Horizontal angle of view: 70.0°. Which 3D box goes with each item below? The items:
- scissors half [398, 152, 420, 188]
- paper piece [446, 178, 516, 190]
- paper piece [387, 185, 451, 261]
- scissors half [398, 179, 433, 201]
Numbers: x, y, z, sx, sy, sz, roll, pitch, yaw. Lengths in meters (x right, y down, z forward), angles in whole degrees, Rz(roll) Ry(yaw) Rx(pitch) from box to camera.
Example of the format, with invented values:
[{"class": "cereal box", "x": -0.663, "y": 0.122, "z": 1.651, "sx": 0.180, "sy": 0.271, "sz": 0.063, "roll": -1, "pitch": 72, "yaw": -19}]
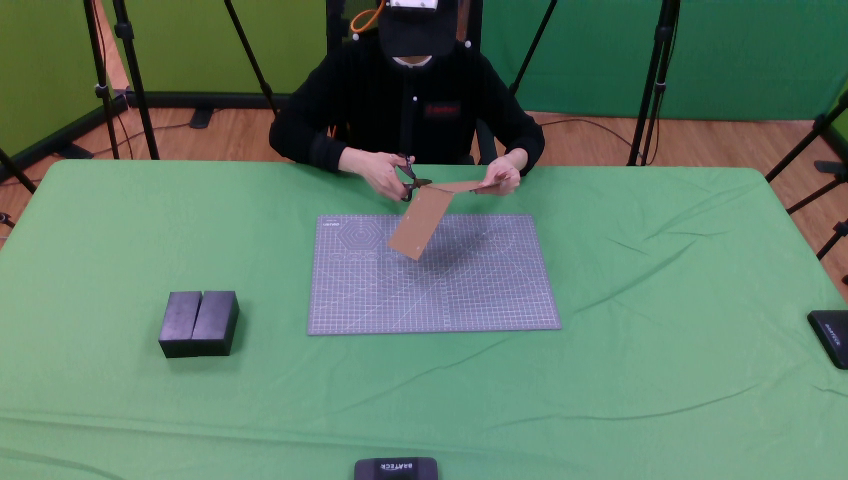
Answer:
[{"class": "scissors half", "x": -0.016, "y": -0.126, "z": 1.189, "sx": 0.013, "sy": 0.040, "sz": 0.174, "roll": -6, "pitch": 39, "yaw": -23}, {"class": "paper piece", "x": 0.083, "y": -0.102, "z": 1.132, "sx": 0.136, "sy": 0.004, "sz": 0.135, "roll": -12, "pitch": 6, "yaw": -23}, {"class": "paper piece", "x": -0.011, "y": -0.036, "z": 1.100, "sx": 0.009, "sy": 0.138, "sz": 0.135, "roll": 29, "pitch": -2, "yaw": -24}, {"class": "scissors half", "x": -0.017, "y": -0.102, "z": 1.197, "sx": 0.013, "sy": 0.175, "sz": 0.040, "roll": -10, "pitch": 91, "yaw": -22}]
